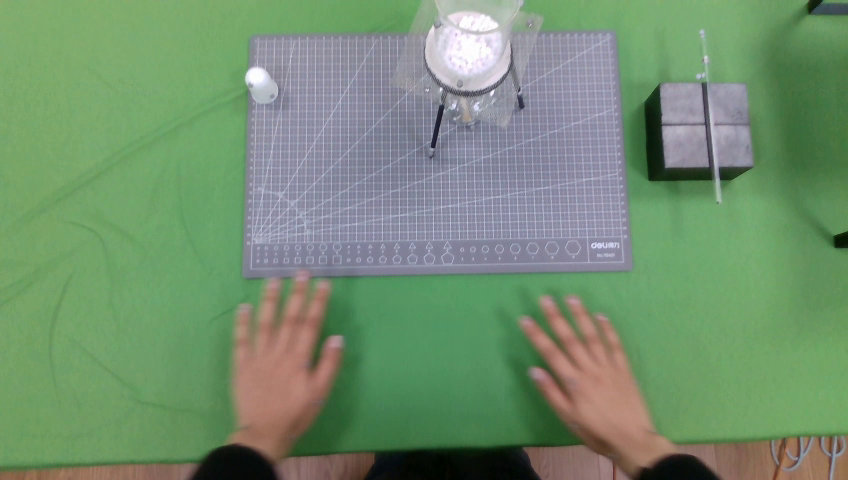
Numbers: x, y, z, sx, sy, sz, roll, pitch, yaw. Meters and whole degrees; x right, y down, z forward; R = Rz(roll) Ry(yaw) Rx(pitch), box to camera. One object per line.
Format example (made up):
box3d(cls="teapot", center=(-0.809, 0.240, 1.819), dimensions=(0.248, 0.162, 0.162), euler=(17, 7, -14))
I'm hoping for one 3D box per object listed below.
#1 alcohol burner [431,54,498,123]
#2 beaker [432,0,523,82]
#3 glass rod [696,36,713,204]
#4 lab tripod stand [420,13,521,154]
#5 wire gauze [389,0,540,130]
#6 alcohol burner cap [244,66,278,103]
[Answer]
box3d(cls="alcohol burner", center=(0.047, -0.177, 0.680), dimensions=(0.078, 0.119, 0.077), euler=(0, 80, -2))
box3d(cls="beaker", center=(0.042, -0.199, 0.558), dimensions=(0.074, 0.100, 0.083), euler=(-25, 80, -6))
box3d(cls="glass rod", center=(0.317, -0.137, 0.685), dimensions=(0.008, 0.008, 0.199), euler=(0, 80, 0))
box3d(cls="lab tripod stand", center=(0.045, -0.176, 0.670), dimensions=(0.148, 0.132, 0.147), euler=(0, 78, -1))
box3d(cls="wire gauze", center=(0.042, -0.187, 0.605), dimensions=(0.125, 0.011, 0.121), euler=(21, 81, 0))
box3d(cls="alcohol burner cap", center=(-0.193, -0.186, 0.714), dimensions=(0.034, 0.048, 0.033), euler=(0, 79, 1))
